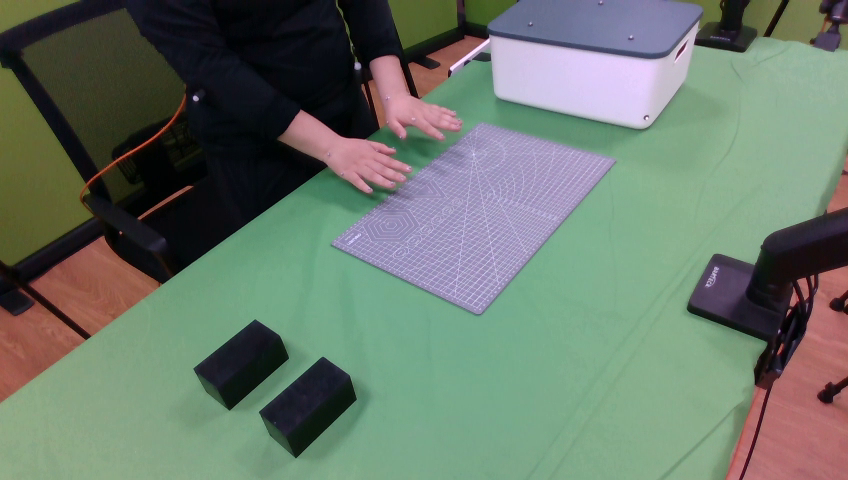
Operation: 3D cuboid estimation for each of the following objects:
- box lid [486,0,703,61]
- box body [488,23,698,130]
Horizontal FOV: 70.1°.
[{"bbox_3d":[0.338,-0.435,1.208,0.369,0.015,0.264,20,47,29],"label":"box lid"},{"bbox_3d":[0.345,-0.379,1.257,0.361,0.161,0.255,20,48,29],"label":"box body"}]
